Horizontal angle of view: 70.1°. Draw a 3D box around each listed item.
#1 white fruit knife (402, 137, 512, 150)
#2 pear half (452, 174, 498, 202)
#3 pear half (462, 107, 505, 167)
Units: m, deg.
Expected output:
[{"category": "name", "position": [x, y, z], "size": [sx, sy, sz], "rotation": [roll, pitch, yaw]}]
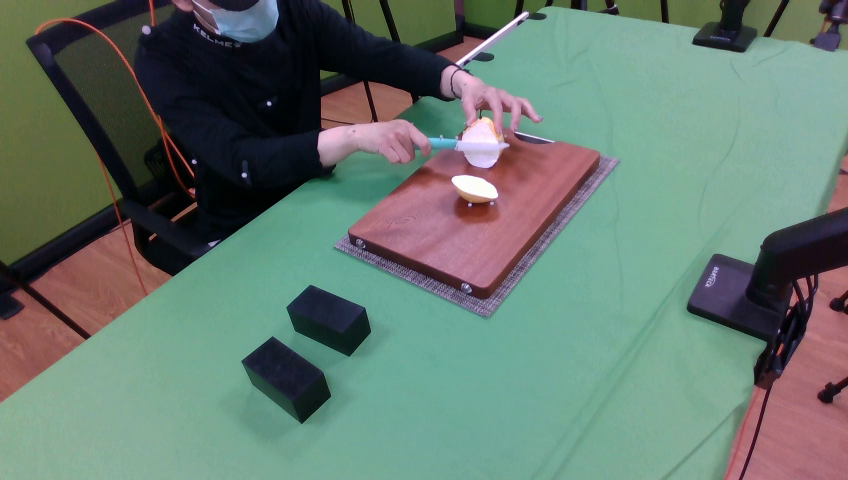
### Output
[{"category": "white fruit knife", "position": [0.053, -0.168, 1.055], "size": [0.206, 0.027, 0.016], "rotation": [4, 51, 23]}, {"category": "pear half", "position": [0.084, -0.079, 0.995], "size": [0.071, 0.031, 0.087], "rotation": [-22, 47, -36]}, {"category": "pear half", "position": [0.106, -0.189, 1.062], "size": [0.076, 0.110, 0.056], "rotation": [11, 44, 15]}]
